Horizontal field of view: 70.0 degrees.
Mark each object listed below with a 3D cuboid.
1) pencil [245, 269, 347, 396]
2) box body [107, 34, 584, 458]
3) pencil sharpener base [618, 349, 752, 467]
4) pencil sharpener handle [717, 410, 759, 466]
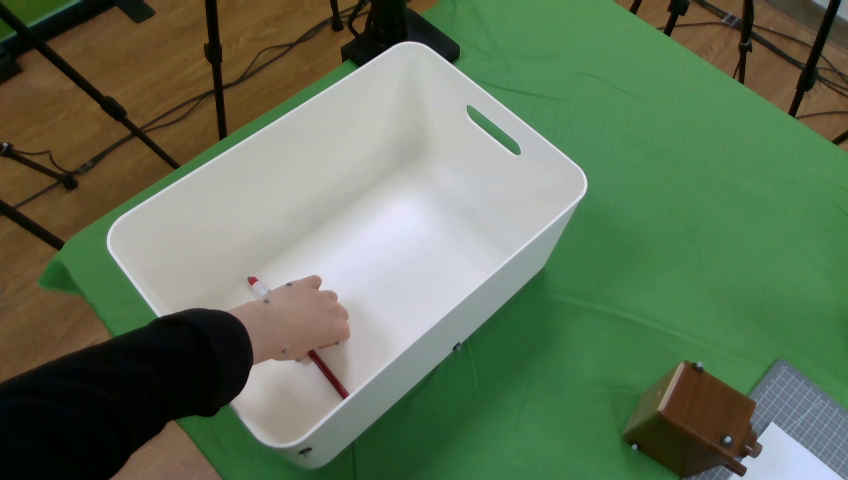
[{"bbox_3d":[-0.128,0.099,0.622,0.012,0.012,0.192,-36,70,-20],"label":"pencil"},{"bbox_3d":[-0.062,0.002,0.598,0.364,0.161,0.252,-39,69,-20],"label":"box body"},{"bbox_3d":[0.238,0.158,0.557,0.076,0.108,0.061,31,64,14],"label":"pencil sharpener base"},{"bbox_3d":[0.280,0.179,0.533,0.030,0.068,0.036,31,58,14],"label":"pencil sharpener handle"}]
